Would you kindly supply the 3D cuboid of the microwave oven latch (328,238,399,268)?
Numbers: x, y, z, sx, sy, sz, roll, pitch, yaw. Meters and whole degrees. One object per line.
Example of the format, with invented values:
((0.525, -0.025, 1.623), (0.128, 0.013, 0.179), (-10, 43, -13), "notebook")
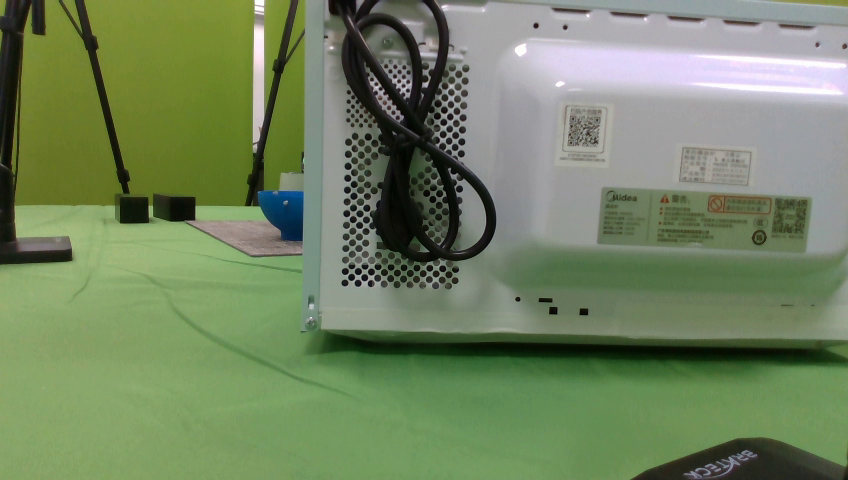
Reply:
((-0.069, 0.015, 0.694), (0.079, 0.029, 0.030), (3, 7, -4), "microwave oven latch")

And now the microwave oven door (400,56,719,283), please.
((0.155, -0.077, 0.699), (0.356, 0.243, 0.039), (2, 8, -4), "microwave oven door")

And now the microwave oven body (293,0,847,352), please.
((0.122, -0.055, 0.549), (0.442, 0.260, 0.325), (3, 7, -4), "microwave oven body")

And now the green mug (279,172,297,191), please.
((-0.250, -0.089, 1.279), (0.092, 0.105, 0.126), (8, 9, 40), "green mug")

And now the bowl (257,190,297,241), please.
((-0.206, -0.041, 1.027), (0.151, 0.077, 0.151), (2, 8, 0), "bowl")
